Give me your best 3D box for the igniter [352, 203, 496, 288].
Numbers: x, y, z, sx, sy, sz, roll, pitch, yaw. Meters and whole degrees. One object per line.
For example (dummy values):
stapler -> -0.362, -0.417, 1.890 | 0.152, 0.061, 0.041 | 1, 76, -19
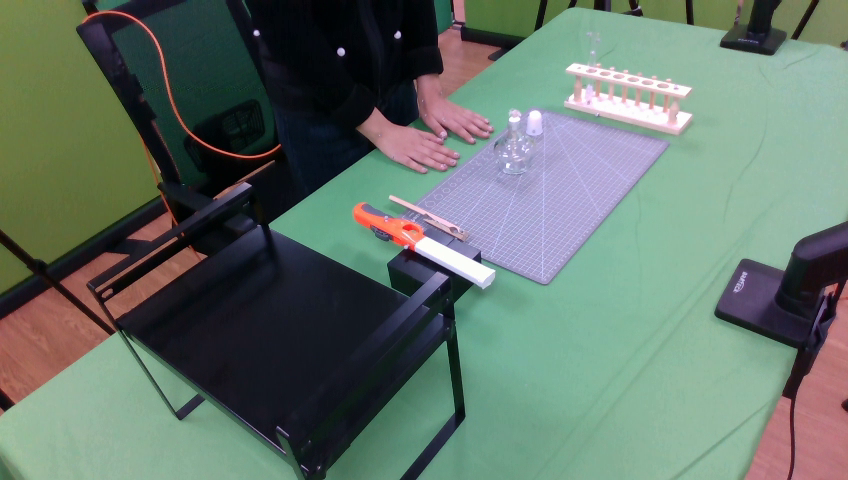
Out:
igniter -> -0.011, 0.002, 0.899 | 0.274, 0.025, 0.057 | 27, 45, 33

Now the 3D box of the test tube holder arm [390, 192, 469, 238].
test tube holder arm -> 0.006, -0.044, 1.019 | 0.177, 0.015, 0.013 | 32, 84, 36

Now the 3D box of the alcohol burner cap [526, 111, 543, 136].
alcohol burner cap -> 0.219, -0.232, 1.196 | 0.034, 0.048, 0.033 | -4, 40, 4

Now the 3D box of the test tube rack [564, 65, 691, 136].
test tube rack -> 0.404, -0.288, 1.204 | 0.240, 0.085, 0.067 | 24, 49, 32

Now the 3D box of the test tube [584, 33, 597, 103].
test tube -> 0.330, -0.338, 1.199 | 0.017, 0.151, 0.017 | -5, 45, 5

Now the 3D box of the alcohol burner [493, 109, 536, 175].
alcohol burner -> 0.163, -0.179, 1.087 | 0.078, 0.119, 0.077 | -5, 39, 5

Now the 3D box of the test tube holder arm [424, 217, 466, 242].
test tube holder arm -> 0.033, -0.020, 0.992 | 0.087, 0.015, 0.010 | 32, 84, 36
